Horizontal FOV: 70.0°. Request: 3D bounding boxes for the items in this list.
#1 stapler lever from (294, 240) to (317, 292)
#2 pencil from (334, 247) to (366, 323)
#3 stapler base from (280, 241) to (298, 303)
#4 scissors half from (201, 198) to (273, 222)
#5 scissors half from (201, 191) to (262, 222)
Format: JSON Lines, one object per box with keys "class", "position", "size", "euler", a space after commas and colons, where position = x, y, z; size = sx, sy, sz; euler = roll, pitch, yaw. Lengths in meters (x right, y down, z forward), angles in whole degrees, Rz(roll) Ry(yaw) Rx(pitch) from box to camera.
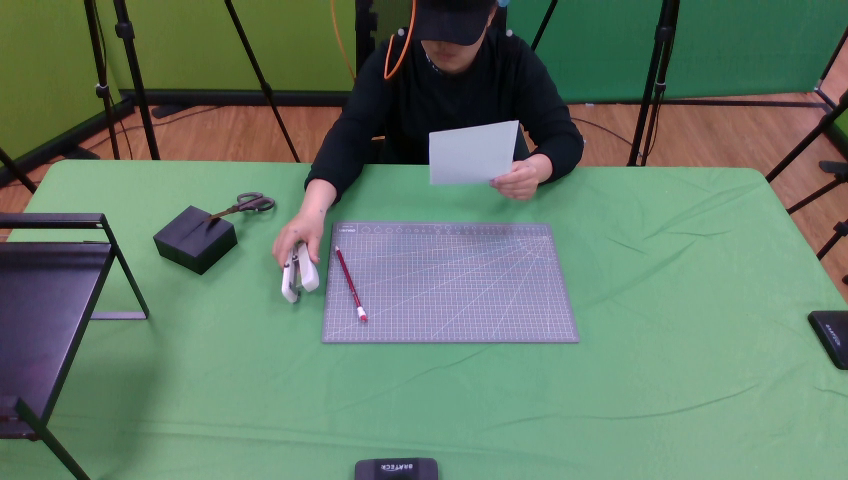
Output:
{"class": "stapler lever", "position": [-0.213, 0.045, 1.101], "size": [0.040, 0.027, 0.117], "euler": [-20, 44, 14]}
{"class": "pencil", "position": [-0.140, 0.077, 1.116], "size": [0.012, 0.012, 0.192], "euler": [-14, 48, -17]}
{"class": "stapler base", "position": [-0.236, 0.055, 1.108], "size": [0.024, 0.041, 0.129], "euler": [-19, 44, 15]}
{"class": "scissors half", "position": [-0.365, -0.055, 1.192], "size": [0.040, 0.013, 0.175], "euler": [39, 32, 22]}
{"class": "scissors half", "position": [-0.381, -0.066, 1.198], "size": [0.040, 0.013, 0.175], "euler": [25, 28, 9]}
